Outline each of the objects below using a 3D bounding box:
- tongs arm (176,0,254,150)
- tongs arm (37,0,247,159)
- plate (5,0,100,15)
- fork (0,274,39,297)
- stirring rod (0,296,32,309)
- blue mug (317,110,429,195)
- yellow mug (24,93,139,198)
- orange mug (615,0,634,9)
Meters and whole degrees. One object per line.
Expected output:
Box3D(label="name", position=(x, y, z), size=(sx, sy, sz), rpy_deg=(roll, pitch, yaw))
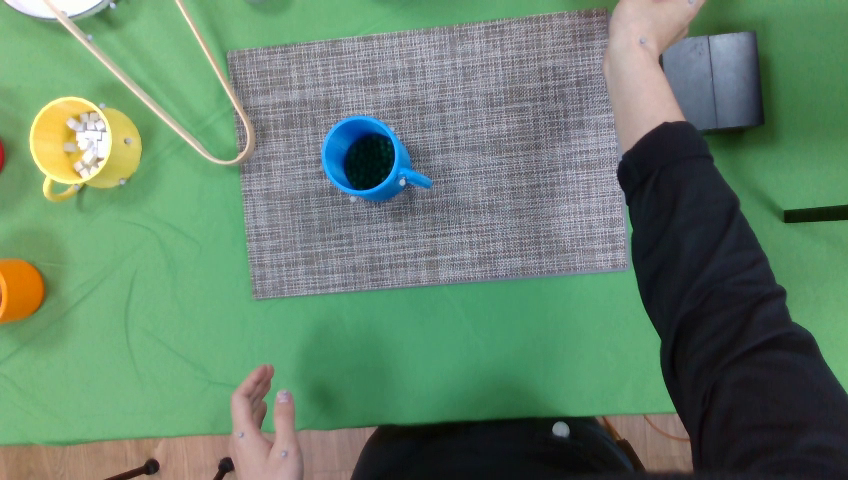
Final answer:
Box3D(label="tongs arm", position=(-0.298, -0.281, 0.701), size=(0.028, 0.027, 0.388), rpy_deg=(-30, 96, -4))
Box3D(label="tongs arm", position=(-0.364, -0.229, 0.704), size=(0.051, 0.026, 0.385), rpy_deg=(-44, 96, 1))
Box3D(label="plate", position=(-0.439, -0.371, 0.723), size=(0.207, 0.039, 0.207), rpy_deg=(0, 93, 4))
Box3D(label="fork", position=(-0.563, 0.049, 0.692), size=(0.209, 0.018, 0.028), rpy_deg=(6, 92, -40))
Box3D(label="stirring rod", position=(-0.553, 0.066, 0.695), size=(0.006, 0.177, 0.014), rpy_deg=(-13, 73, 47))
Box3D(label="blue mug", position=(-0.049, -0.087, 0.670), size=(0.116, 0.106, 0.082), rpy_deg=(21, 93, 3))
Box3D(label="yellow mug", position=(-0.412, -0.104, 0.718), size=(0.100, 0.064, 0.131), rpy_deg=(33, 95, 2))
Box3D(label="orange mug", position=(0.236, -0.315, 0.637), size=(0.083, 0.101, 0.126), rpy_deg=(20, 92, 4))
